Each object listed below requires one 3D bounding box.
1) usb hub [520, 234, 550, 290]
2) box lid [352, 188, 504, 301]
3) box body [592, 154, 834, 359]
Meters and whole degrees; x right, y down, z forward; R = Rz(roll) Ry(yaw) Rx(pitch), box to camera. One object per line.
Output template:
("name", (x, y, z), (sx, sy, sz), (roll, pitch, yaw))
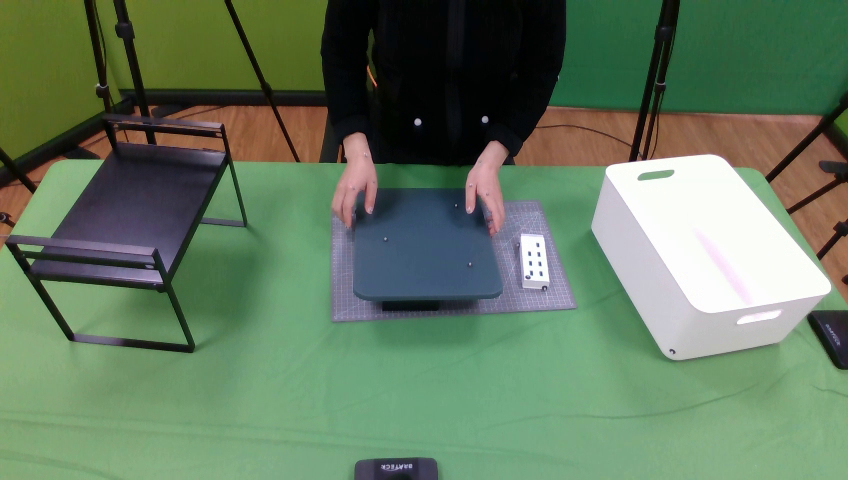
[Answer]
("usb hub", (0.212, 0.040, 1.168), (0.049, 0.025, 0.124), (4, 45, 1))
("box lid", (-0.003, -0.006, 1.162), (0.263, 0.015, 0.369), (0, 34, -5))
("box body", (0.496, 0.024, 1.112), (0.254, 0.161, 0.361), (-8, 47, -10))
